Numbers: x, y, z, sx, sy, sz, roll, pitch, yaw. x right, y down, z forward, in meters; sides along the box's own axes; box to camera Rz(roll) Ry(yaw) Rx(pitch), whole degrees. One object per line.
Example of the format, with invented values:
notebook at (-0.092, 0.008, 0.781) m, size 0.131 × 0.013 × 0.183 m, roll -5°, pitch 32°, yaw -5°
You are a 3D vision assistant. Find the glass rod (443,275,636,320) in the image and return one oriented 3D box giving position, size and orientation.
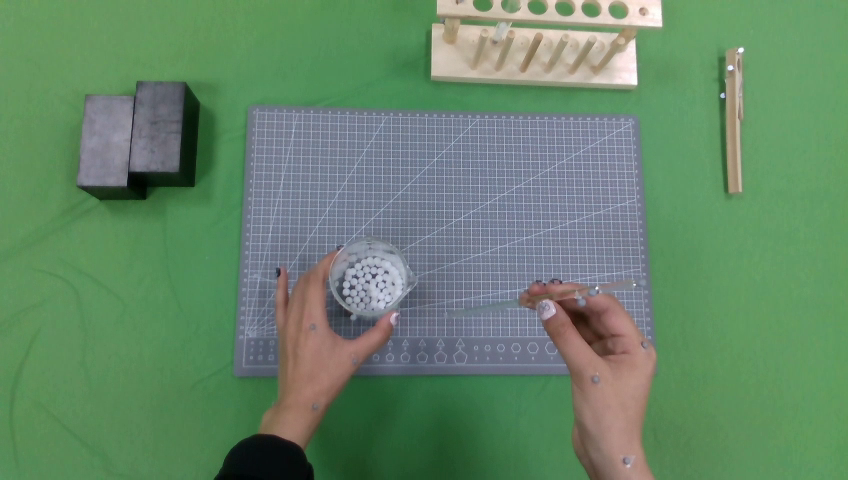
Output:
glass rod at (0.078, 0.048, 0.472) m, size 0.008 × 0.199 × 0.008 m, roll 12°, pitch 70°, yaw -36°

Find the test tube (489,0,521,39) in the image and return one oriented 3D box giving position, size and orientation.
test tube at (0.095, -0.255, 0.633) m, size 0.017 × 0.150 × 0.017 m, roll 2°, pitch 77°, yaw -10°

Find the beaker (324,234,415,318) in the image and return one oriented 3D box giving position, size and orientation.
beaker at (-0.053, 0.040, 0.607) m, size 0.084 × 0.100 × 0.073 m, roll 5°, pitch 79°, yaw -3°

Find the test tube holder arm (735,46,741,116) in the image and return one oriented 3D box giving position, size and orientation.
test tube holder arm at (0.370, -0.189, 0.725) m, size 0.010 × 0.015 × 0.087 m, roll 13°, pitch 77°, yaw -31°

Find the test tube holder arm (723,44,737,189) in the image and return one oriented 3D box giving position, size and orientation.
test tube holder arm at (0.361, -0.146, 0.713) m, size 0.013 × 0.015 × 0.177 m, roll 13°, pitch 77°, yaw -32°

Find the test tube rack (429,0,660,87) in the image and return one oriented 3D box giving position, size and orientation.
test tube rack at (0.129, -0.227, 0.681) m, size 0.243 × 0.085 × 0.066 m, roll 2°, pitch 79°, yaw -4°
